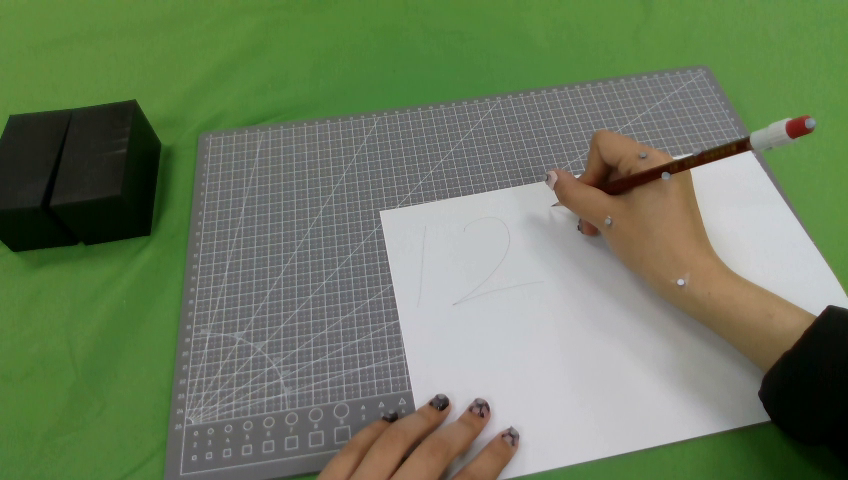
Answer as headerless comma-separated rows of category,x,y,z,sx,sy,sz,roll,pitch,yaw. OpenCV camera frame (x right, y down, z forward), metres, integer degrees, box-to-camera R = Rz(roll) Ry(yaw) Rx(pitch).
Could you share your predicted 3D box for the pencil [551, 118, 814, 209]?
pencil,0.140,-0.039,0.371,0.012,0.193,0.012,5,79,-27
